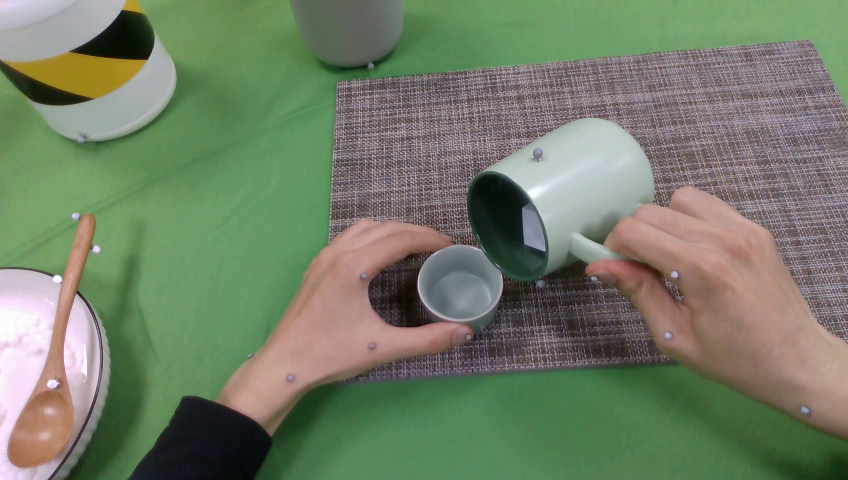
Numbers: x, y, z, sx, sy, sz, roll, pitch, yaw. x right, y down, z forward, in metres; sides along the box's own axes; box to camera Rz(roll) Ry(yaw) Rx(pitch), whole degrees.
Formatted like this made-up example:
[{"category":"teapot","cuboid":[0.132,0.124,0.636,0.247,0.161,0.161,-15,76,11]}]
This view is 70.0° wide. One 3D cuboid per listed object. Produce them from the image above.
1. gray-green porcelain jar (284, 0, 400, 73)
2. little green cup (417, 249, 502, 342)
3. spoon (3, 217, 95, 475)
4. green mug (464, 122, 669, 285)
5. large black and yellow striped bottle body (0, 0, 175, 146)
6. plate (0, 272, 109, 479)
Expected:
[{"category":"gray-green porcelain jar","cuboid":[-0.078,-0.231,0.567,0.106,0.127,0.105,-2,59,4]},{"category":"little green cup","cuboid":[0.024,0.042,0.440,0.061,0.039,0.061,1,54,-2]},{"category":"spoon","cuboid":[-0.262,0.068,0.438,0.041,0.022,0.192,-2,67,3]},{"category":"green mug","cuboid":[0.103,-0.019,0.408,0.105,0.093,0.124,-27,40,-28]},{"category":"large black and yellow striped bottle body","cuboid":[-0.317,-0.186,0.526,0.131,0.185,0.129,-2,59,4]},{"category":"plate","cuboid":[-0.323,0.121,0.430,0.209,0.038,0.207,-2,59,4]}]
